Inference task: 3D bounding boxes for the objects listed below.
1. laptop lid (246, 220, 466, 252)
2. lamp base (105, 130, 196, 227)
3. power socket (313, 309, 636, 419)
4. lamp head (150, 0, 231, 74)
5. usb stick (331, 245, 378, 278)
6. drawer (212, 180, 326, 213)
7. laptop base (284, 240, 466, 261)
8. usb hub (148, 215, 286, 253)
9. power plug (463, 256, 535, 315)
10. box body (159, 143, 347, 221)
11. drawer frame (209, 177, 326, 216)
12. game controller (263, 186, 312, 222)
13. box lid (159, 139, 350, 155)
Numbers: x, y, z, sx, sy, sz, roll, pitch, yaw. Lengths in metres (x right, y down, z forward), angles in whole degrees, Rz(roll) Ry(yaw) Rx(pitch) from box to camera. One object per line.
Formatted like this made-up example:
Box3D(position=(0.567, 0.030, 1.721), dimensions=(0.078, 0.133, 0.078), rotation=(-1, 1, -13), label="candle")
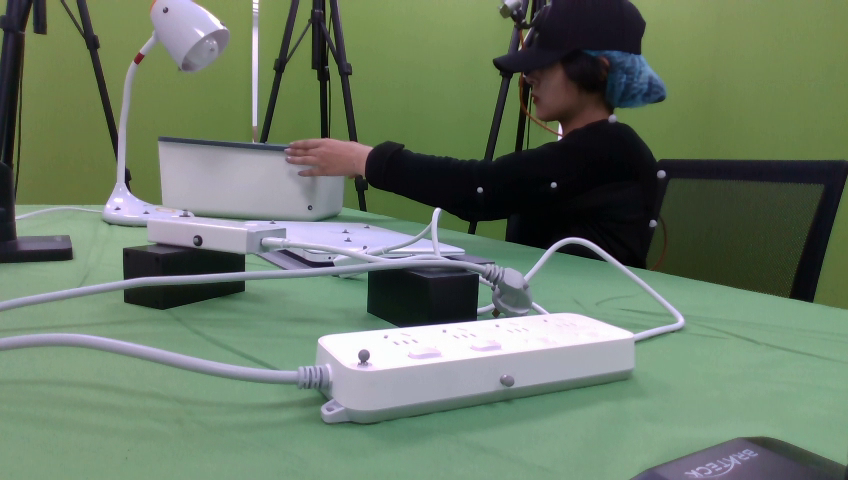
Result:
Box3D(position=(-0.123, -0.009, 0.945), dimensions=(0.243, 0.013, 0.355), rotation=(1, 7, -29), label="laptop lid")
Box3D(position=(-0.532, -0.120, 1.153), dimensions=(0.179, 0.180, 0.161), rotation=(1, 7, 8), label="lamp base")
Box3D(position=(0.039, 0.072, 0.384), dimensions=(0.228, 0.032, 0.072), rotation=(-2, 7, -28), label="power socket")
Box3D(position=(-0.432, -0.374, 1.086), dimensions=(0.123, 0.112, 0.112), rotation=(42, 8, -2), label="lamp head")
Box3D(position=(-0.085, 0.026, 0.701), dimensions=(0.059, 0.027, 0.021), rotation=(-18, 19, 27), label="usb stick")
Box3D(position=(-0.349, -0.103, 1.395), dimensions=(0.212, 0.073, 0.194), rotation=(2, 6, 4), label="drawer")
Box3D(position=(-0.125, 0.002, 0.945), dimensions=(0.237, 0.023, 0.352), rotation=(2, 6, -31), label="laptop base")
Box3D(position=(-0.197, -0.006, 0.575), dimensions=(0.125, 0.025, 0.050), rotation=(6, 6, 22), label="usb hub")
Box3D(position=(0.064, 0.039, 0.530), dimensions=(0.072, 0.052, 0.035), rotation=(31, 43, 7), label="power plug")
Box3D(position=(-0.384, -0.136, 1.406), dimensions=(0.364, 0.160, 0.254), rotation=(3, 8, 8), label="box body")
Box3D(position=(-0.351, -0.103, 1.393), dimensions=(0.213, 0.082, 0.201), rotation=(1, 7, 3), label="drawer frame")
Box3D(position=(-0.308, -0.089, 1.397), dimensions=(0.097, 0.051, 0.155), rotation=(31, 6, -3), label="game controller")
Box3D(position=(-0.373, -0.214, 1.387), dimensions=(0.371, 0.015, 0.263), rotation=(4, 9, 7), label="box lid")
